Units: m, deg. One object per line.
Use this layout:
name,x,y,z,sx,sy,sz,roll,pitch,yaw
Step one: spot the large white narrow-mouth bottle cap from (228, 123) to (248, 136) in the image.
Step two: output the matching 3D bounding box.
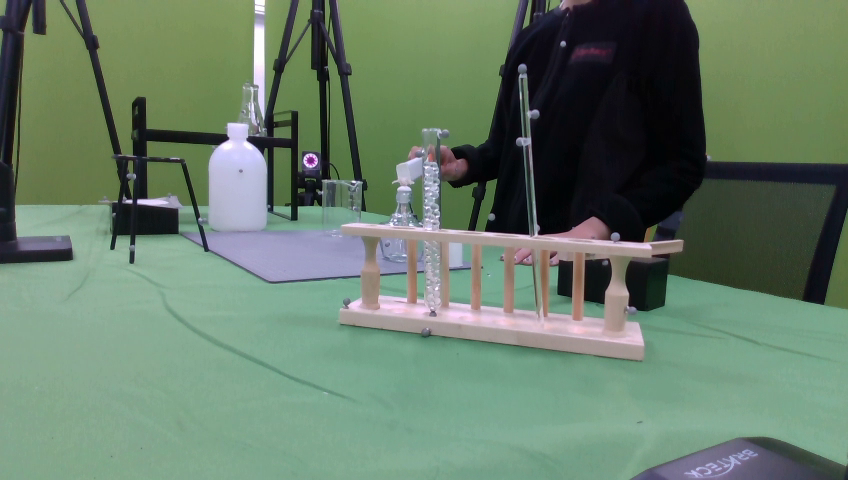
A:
large white narrow-mouth bottle cap,-0.338,-0.200,1.097,0.038,0.024,0.037,2,8,0

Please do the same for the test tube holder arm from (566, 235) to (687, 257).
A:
test tube holder arm,0.215,0.006,0.630,0.179,0.015,0.013,-3,9,-31

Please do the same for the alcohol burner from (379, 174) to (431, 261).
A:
alcohol burner,-0.027,-0.031,0.838,0.078,0.119,0.078,0,6,0

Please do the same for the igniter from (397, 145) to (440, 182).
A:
igniter,-0.004,-0.123,0.980,0.025,0.057,0.277,-10,9,12

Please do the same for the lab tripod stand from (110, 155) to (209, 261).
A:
lab tripod stand,-0.361,-0.046,0.806,0.148,0.131,0.148,2,5,0

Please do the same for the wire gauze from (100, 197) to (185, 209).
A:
wire gauze,-0.469,-0.062,1.008,0.126,0.011,0.121,-2,8,-25

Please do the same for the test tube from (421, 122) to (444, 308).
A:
test tube,0.007,-0.019,0.486,0.017,0.150,0.017,-1,7,0

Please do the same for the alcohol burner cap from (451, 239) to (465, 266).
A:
alcohol burner cap,0.040,0.010,0.815,0.034,0.048,0.034,3,8,0

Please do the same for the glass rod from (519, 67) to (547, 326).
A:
glass rod,0.084,-0.029,0.458,0.008,0.199,0.008,-6,11,2

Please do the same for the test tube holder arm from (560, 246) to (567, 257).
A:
test tube holder arm,0.173,0.007,0.611,0.088,0.015,0.010,-3,9,-30

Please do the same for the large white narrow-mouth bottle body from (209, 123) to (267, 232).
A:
large white narrow-mouth bottle body,-0.340,-0.115,1.109,0.102,0.194,0.102,2,8,0

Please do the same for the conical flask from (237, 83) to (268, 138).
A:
conical flask,-0.402,-0.299,1.406,0.075,0.122,0.075,2,7,0

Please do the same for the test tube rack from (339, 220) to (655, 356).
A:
test tube rack,0.056,0.032,0.495,0.242,0.085,0.067,4,7,15

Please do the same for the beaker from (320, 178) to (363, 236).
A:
beaker,-0.145,-0.059,1.079,0.074,0.100,0.083,-4,10,-36
